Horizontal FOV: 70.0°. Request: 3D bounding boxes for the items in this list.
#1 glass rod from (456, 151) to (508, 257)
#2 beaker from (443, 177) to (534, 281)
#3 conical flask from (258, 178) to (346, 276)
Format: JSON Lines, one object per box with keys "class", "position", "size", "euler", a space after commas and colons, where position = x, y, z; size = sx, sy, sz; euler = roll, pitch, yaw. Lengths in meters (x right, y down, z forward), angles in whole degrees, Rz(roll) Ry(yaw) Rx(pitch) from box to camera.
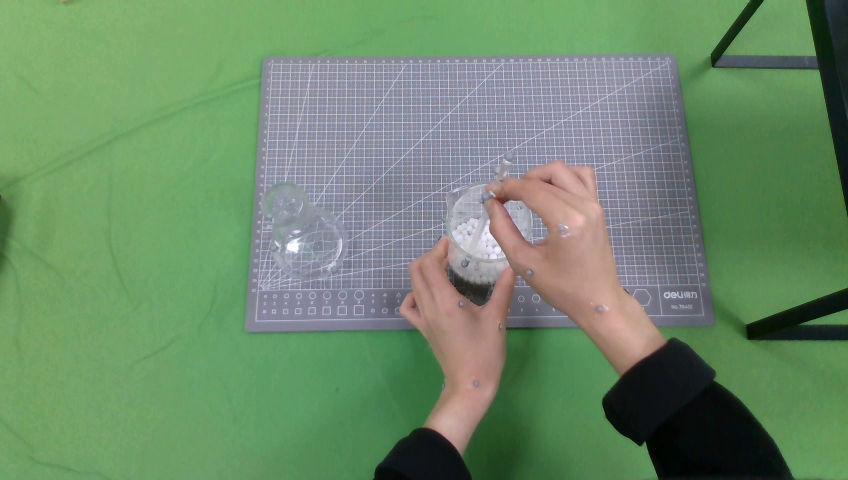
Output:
{"class": "glass rod", "position": [0.043, -0.021, 0.487], "size": [0.008, 0.200, 0.008], "euler": [2, 69, -5]}
{"class": "beaker", "position": [0.051, -0.007, 0.555], "size": [0.083, 0.101, 0.074], "euler": [36, 76, 10]}
{"class": "conical flask", "position": [-0.114, -0.016, 0.544], "size": [0.075, 0.122, 0.075], "euler": [0, 73, 0]}
